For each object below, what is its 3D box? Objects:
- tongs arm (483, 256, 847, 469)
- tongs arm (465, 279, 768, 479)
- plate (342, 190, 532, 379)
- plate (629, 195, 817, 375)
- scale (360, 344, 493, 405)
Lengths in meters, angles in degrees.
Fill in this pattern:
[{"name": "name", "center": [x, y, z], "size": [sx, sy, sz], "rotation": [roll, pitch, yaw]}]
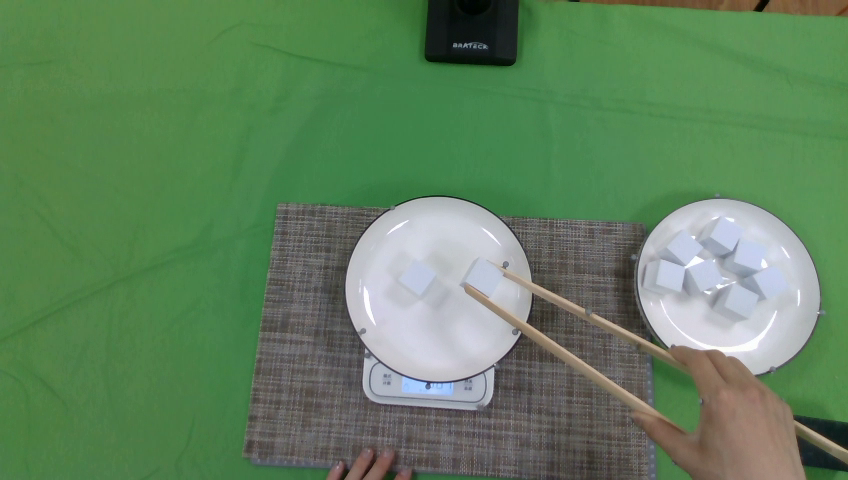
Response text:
[{"name": "tongs arm", "center": [0.206, 0.118, 0.544], "size": [0.382, 0.027, 0.050], "rotation": [27, 70, 24]}, {"name": "tongs arm", "center": [0.191, 0.135, 0.538], "size": [0.384, 0.028, 0.028], "rotation": [32, 69, 25]}, {"name": "plate", "center": [0.014, 0.048, 0.672], "size": [0.209, 0.038, 0.208], "rotation": [0, 77, 0]}, {"name": "plate", "center": [0.339, 0.052, 0.702], "size": [0.208, 0.039, 0.206], "rotation": [0, 76, 1]}, {"name": "scale", "center": [0.008, 0.084, 0.698], "size": [0.148, 0.032, 0.200], "rotation": [4, 77, 2]}]
